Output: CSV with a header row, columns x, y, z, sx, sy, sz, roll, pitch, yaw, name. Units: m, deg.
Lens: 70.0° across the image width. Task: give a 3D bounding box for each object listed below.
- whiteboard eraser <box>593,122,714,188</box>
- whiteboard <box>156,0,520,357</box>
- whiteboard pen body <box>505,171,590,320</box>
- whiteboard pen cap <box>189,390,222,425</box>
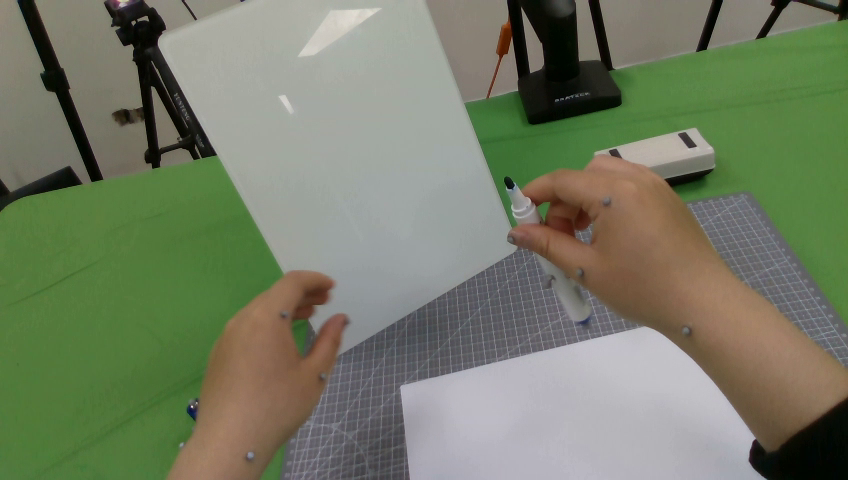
x,y,z,sx,sy,sz,roll,pitch,yaw,name
0.240,-0.087,0.638,0.112,0.042,0.055,-12,42,4,whiteboard eraser
-0.076,-0.088,0.589,0.217,0.307,0.142,-29,21,-14,whiteboard
0.081,0.007,0.391,0.017,0.142,0.017,-20,40,18,whiteboard pen body
-0.188,0.145,0.523,0.018,0.033,0.018,-9,41,8,whiteboard pen cap
